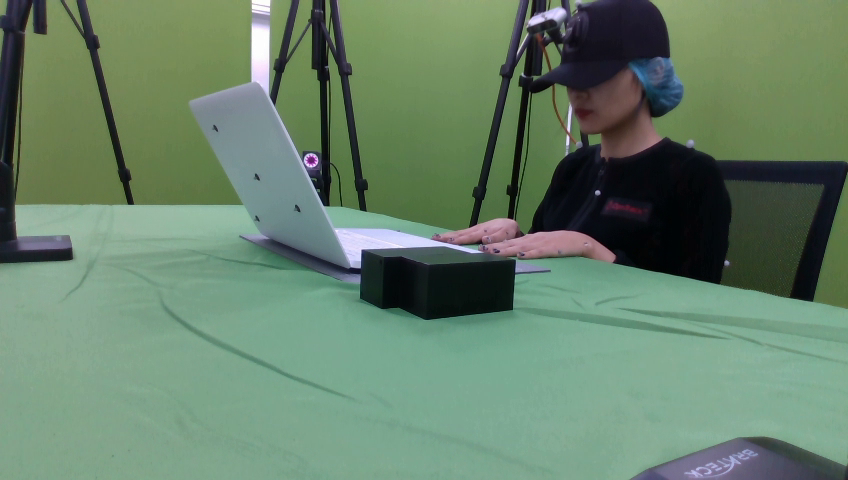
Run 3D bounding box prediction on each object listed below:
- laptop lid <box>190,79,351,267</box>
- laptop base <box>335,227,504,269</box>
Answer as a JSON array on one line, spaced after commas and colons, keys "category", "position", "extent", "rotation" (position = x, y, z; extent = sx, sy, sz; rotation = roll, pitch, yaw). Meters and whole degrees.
[{"category": "laptop lid", "position": [-0.220, -0.087, 0.809], "extent": [0.013, 0.242, 0.355], "rotation": [-34, 25, -24]}, {"category": "laptop base", "position": [-0.077, 0.009, 0.914], "extent": [0.237, 0.023, 0.352], "rotation": [1, 7, -33]}]
